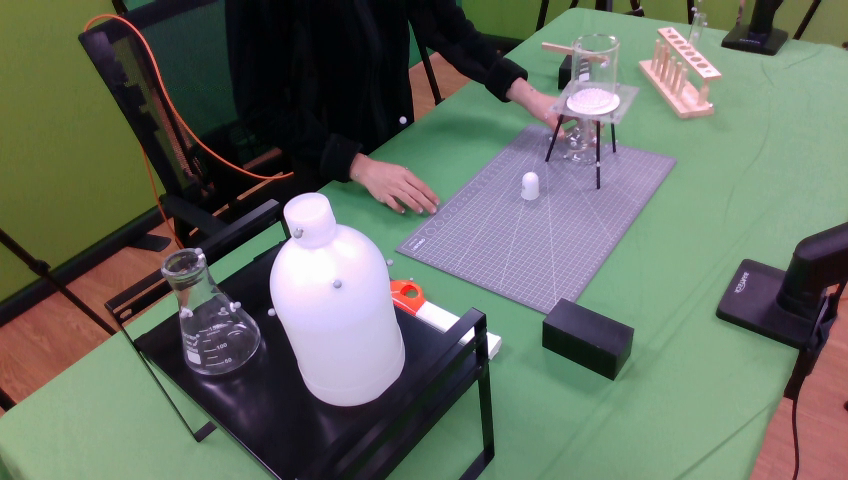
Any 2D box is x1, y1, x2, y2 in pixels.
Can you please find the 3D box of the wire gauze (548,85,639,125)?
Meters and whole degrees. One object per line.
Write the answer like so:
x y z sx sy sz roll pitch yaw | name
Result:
0.286 -0.233 1.020 0.124 0.011 0.122 15 43 30 | wire gauze

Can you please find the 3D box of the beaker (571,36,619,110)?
0.281 -0.273 0.992 0.084 0.101 0.073 -24 42 -16 | beaker

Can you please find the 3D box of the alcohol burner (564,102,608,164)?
0.293 -0.197 1.092 0.078 0.119 0.077 -5 43 5 | alcohol burner

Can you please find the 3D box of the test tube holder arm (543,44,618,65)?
0.344 -0.412 1.340 0.177 0.015 0.013 25 50 31 | test tube holder arm

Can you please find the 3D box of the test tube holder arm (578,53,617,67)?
0.376 -0.393 1.314 0.087 0.015 0.010 25 50 32 | test tube holder arm

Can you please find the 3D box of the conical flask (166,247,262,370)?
-0.209 0.064 0.584 0.075 0.122 0.075 -5 40 4 | conical flask

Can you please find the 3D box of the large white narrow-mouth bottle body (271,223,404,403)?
-0.077 0.048 0.525 0.102 0.195 0.101 -5 40 5 | large white narrow-mouth bottle body

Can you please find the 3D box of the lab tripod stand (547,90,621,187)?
0.289 -0.184 1.062 0.148 0.132 0.147 -6 41 6 | lab tripod stand

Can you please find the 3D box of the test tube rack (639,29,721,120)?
0.527 -0.351 1.262 0.067 0.085 0.241 -8 40 1 | test tube rack

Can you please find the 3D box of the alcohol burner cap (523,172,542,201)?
0.186 -0.096 1.047 0.034 0.048 0.033 -6 37 5 | alcohol burner cap

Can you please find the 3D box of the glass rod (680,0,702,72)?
0.542 -0.417 1.233 0.008 0.200 0.008 1 40 0 | glass rod

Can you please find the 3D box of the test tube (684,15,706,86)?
0.540 -0.378 1.215 0.017 0.151 0.017 -2 44 3 | test tube

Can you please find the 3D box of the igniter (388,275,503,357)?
-0.008 0.093 0.870 0.274 0.025 0.057 24 60 33 | igniter

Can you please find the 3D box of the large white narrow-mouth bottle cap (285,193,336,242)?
-0.087 -0.018 0.467 0.038 0.024 0.037 -5 40 4 | large white narrow-mouth bottle cap
